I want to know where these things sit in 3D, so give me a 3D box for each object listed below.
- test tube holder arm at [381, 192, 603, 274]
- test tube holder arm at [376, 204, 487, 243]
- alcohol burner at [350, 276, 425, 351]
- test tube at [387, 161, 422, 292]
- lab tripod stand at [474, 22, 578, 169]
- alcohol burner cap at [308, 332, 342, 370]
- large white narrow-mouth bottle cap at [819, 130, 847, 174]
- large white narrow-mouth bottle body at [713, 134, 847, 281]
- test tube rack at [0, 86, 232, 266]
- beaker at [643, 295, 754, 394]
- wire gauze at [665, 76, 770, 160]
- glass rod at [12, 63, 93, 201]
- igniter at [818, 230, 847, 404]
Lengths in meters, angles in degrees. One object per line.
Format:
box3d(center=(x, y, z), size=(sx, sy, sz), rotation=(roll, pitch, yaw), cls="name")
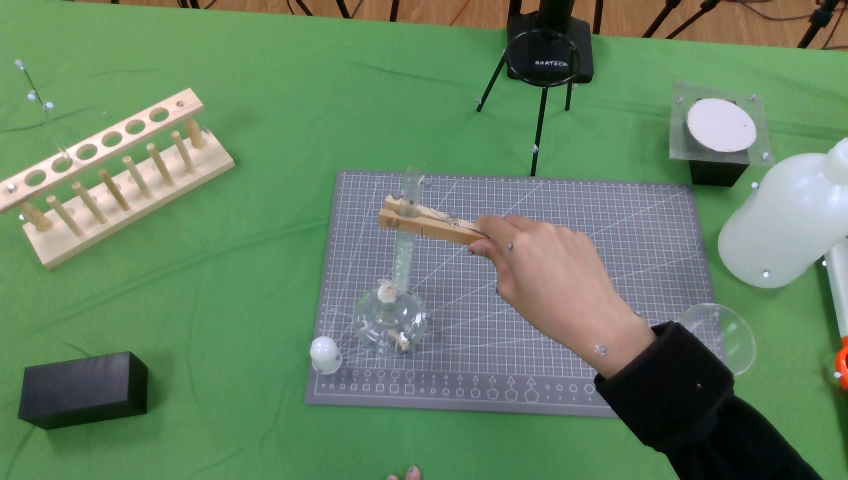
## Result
box3d(center=(0.051, -0.006, 0.471), size=(0.178, 0.015, 0.013), rotation=(16, 58, 7), cls="test tube holder arm")
box3d(center=(0.006, -0.013, 0.473), size=(0.088, 0.015, 0.010), rotation=(11, 57, 4), cls="test tube holder arm")
box3d(center=(-0.037, 0.068, 0.616), size=(0.078, 0.120, 0.077), rotation=(2, 60, -2), cls="alcohol burner")
box3d(center=(-0.017, -0.005, 0.496), size=(0.017, 0.151, 0.017), rotation=(4, 49, -5), cls="test tube")
box3d(center=(0.134, -0.185, 0.752), size=(0.148, 0.132, 0.147), rotation=(1, 62, -2), cls="lab tripod stand")
box3d(center=(-0.105, 0.114, 0.630), size=(0.034, 0.048, 0.033), rotation=(0, 63, 1), cls="alcohol burner cap")
box3d(center=(0.394, -0.083, 0.568), size=(0.038, 0.024, 0.037), rotation=(1, 61, -1), cls="large white narrow-mouth bottle cap")
box3d(center=(0.392, -0.039, 0.643), size=(0.102, 0.196, 0.101), rotation=(0, 60, -1), cls="large white narrow-mouth bottle body")
box3d(center=(-0.357, -0.076, 0.707), size=(0.242, 0.086, 0.066), rotation=(-34, 67, -18), cls="test tube rack")
box3d(center=(0.267, 0.109, 0.609), size=(0.084, 0.101, 0.073), rotation=(7, 61, 4), cls="beaker")
box3d(center=(0.362, -0.152, 0.754), size=(0.121, 0.011, 0.124), rotation=(9, 61, 4), cls="wire gauze")
box3d(center=(-0.390, -0.104, 0.646), size=(0.008, 0.201, 0.008), rotation=(3, 52, -3), cls="glass rod")
box3d(center=(0.467, 0.109, 0.659), size=(0.057, 0.025, 0.274), rotation=(12, 61, -6), cls="igniter")
